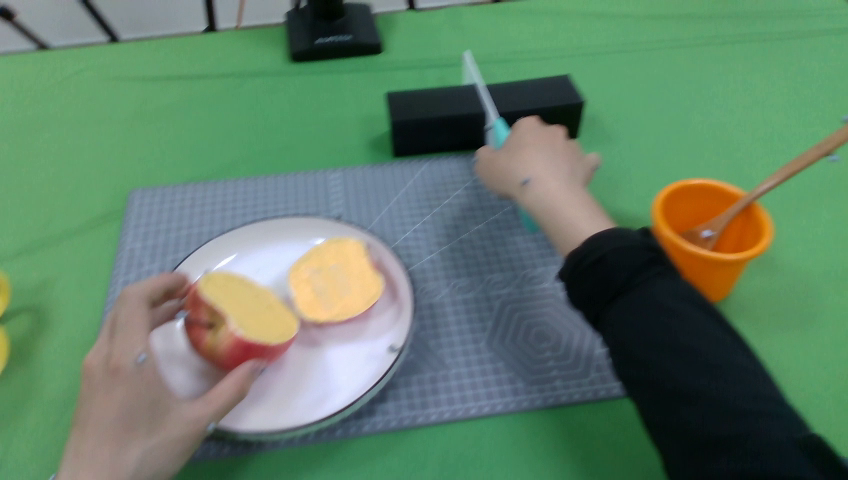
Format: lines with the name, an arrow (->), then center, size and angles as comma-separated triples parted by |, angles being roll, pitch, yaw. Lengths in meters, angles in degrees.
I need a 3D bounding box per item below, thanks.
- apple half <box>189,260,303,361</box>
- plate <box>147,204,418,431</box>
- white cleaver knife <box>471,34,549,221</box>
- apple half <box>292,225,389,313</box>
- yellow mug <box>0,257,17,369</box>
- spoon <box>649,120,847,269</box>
apple half -> -0.137, 0.059, 0.453 | 0.080, 0.075, 0.053 | 40, 105, 12
plate -> -0.108, 0.057, 0.485 | 0.209, 0.038, 0.207 | 0, 50, 0
white cleaver knife -> 0.080, -0.118, 0.613 | 0.021, 0.066, 0.283 | -10, 46, 0
apple half -> -0.068, 0.030, 0.501 | 0.081, 0.033, 0.080 | -2, 63, 5
yellow mug -> -0.376, 0.063, 0.468 | 0.099, 0.064, 0.130 | 21, 52, 17
spoon -> 0.270, -0.038, 0.493 | 0.022, 0.194, 0.041 | 26, 34, -37
